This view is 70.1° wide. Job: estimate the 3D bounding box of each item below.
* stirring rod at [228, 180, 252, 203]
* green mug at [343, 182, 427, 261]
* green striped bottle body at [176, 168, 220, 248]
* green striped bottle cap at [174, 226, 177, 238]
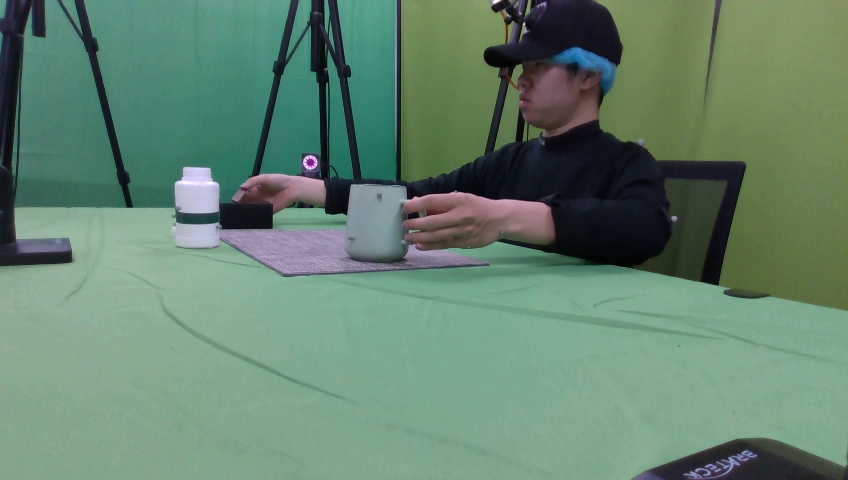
[{"bbox_3d":[-0.378,-0.102,1.245,0.014,0.006,0.176,44,9,-15],"label":"stirring rod"},{"bbox_3d":[-0.052,-0.026,0.847,0.125,0.105,0.093,6,8,27],"label":"green mug"},{"bbox_3d":[-0.345,-0.050,0.924,0.063,0.119,0.063,2,7,0],"label":"green striped bottle body"},{"bbox_3d":[-0.404,-0.015,1.036,0.044,0.020,0.044,-1,9,0],"label":"green striped bottle cap"}]
